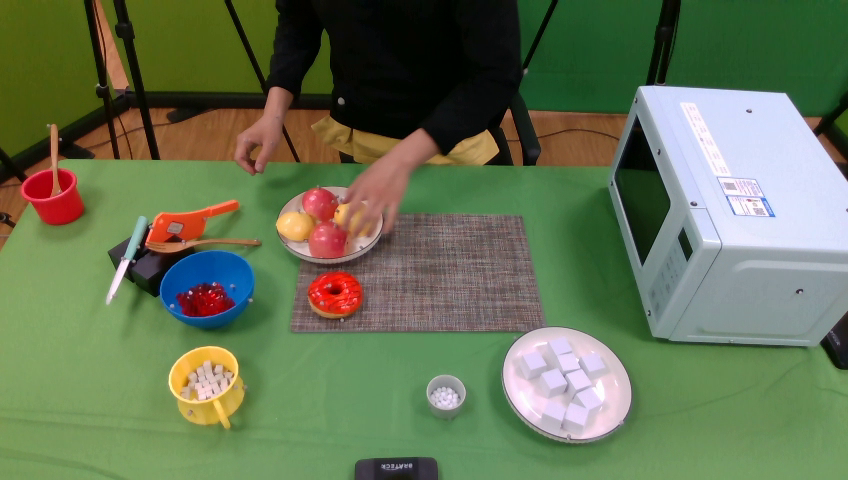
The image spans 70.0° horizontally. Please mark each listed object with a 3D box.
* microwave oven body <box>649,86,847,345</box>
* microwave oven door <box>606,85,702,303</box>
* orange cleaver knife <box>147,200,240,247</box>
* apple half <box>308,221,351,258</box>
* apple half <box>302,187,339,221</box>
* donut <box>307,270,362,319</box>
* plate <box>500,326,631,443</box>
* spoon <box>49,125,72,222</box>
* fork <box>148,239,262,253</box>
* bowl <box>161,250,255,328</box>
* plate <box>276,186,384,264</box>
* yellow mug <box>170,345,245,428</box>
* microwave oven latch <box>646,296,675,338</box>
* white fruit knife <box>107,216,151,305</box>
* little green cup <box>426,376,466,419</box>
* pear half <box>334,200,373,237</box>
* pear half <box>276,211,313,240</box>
[{"bbox_3d":[0.568,-0.053,1.118,0.326,0.261,0.439,2,45,-1],"label":"microwave oven body"},{"bbox_3d":[0.423,-0.094,1.140,0.039,0.245,0.353,2,46,-1],"label":"microwave oven door"},{"bbox_3d":[-0.435,-0.033,1.157,0.012,0.077,0.211,31,26,18],"label":"orange cleaver knife"},{"bbox_3d":[-0.180,-0.005,1.150,0.074,0.053,0.080,14,43,9],"label":"apple half"},{"bbox_3d":[-0.204,-0.077,1.216,0.081,0.033,0.081,19,46,-21],"label":"apple half"},{"bbox_3d":[-0.157,0.097,1.073,0.099,0.048,0.098,4,46,-4],"label":"donut"},{"bbox_3d":[0.224,0.234,0.978,0.208,0.039,0.206,2,46,-2],"label":"plate"},{"bbox_3d":[-0.717,-0.131,1.189,0.042,0.021,0.193,-3,90,-7],"label":"spoon"},{"bbox_3d":[-0.398,0.008,1.117,0.208,0.019,0.028,-5,34,-37],"label":"fork"},{"bbox_3d":[-0.362,0.097,1.040,0.151,0.077,0.150,2,45,-2],"label":"bowl"},{"bbox_3d":[-0.184,-0.027,1.195,0.209,0.038,0.208,2,46,-2],"label":"plate"},{"bbox_3d":[-0.322,0.230,0.922,0.100,0.064,0.130,-24,53,-25],"label":"yellow mug"},{"bbox_3d":[0.412,0.134,1.061,0.030,0.029,0.078,4,45,1],"label":"microwave oven latch"},{"bbox_3d":[-0.518,0.032,1.066,0.027,0.016,0.206,-19,45,19],"label":"white fruit knife"},{"bbox_3d":[0.033,0.248,0.950,0.061,0.039,0.061,2,46,-2],"label":"little green cup"},{"bbox_3d":[-0.147,-0.059,1.210,0.076,0.056,0.109,-16,43,-25],"label":"pear half"},{"bbox_3d":[-0.244,-0.035,1.179,0.070,0.031,0.088,42,39,2],"label":"pear half"}]
